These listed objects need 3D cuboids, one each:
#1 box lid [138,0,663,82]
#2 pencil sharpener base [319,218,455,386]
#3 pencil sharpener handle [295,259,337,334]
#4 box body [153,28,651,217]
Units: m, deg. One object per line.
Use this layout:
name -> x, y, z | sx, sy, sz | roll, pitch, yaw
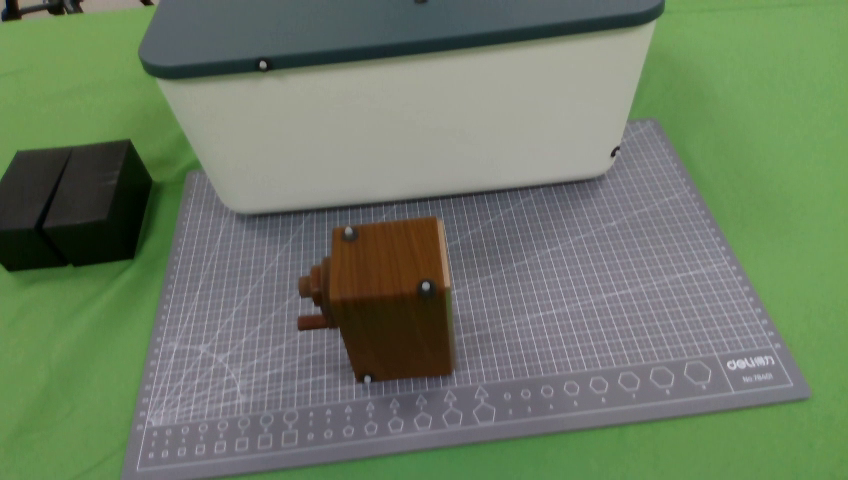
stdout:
box lid -> -0.025, -0.219, 0.492 | 0.372, 0.015, 0.260 | -6, 47, -1
pencil sharpener base -> -0.022, 0.044, 0.396 | 0.077, 0.108, 0.060 | -6, 49, 0
pencil sharpener handle -> -0.073, 0.041, 0.387 | 0.030, 0.068, 0.035 | -6, 52, 0
box body -> -0.018, -0.169, 0.547 | 0.364, 0.162, 0.251 | -6, 48, -1
